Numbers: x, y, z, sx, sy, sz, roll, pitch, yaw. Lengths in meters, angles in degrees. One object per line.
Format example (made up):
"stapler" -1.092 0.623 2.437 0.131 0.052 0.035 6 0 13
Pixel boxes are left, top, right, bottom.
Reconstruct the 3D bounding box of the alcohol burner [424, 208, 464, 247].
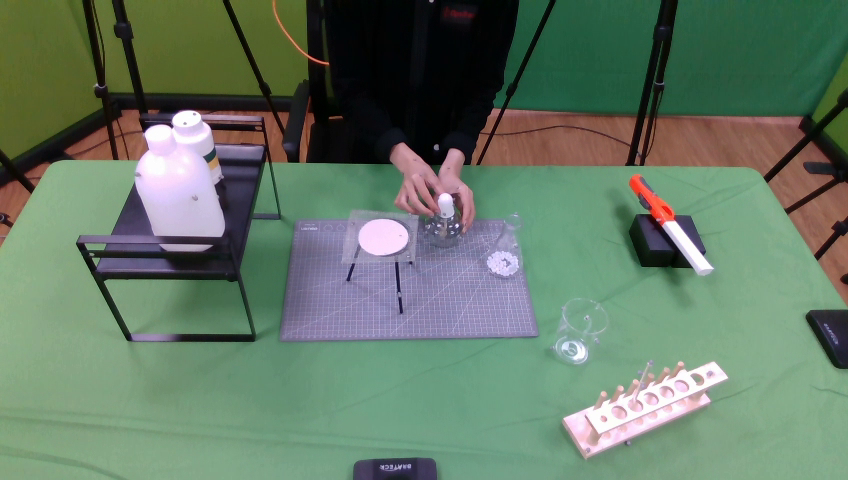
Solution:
"alcohol burner" 0.039 -0.044 1.175 0.078 0.120 0.077 1 48 -1

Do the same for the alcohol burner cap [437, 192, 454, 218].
"alcohol burner cap" 0.040 -0.068 1.148 0.034 0.048 0.033 -4 45 4

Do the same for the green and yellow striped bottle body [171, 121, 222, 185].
"green and yellow striped bottle body" -0.375 -0.149 0.995 0.063 0.120 0.063 2 46 -2

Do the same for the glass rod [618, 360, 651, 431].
"glass rod" 0.298 0.227 0.865 0.008 0.201 0.008 -1 48 2

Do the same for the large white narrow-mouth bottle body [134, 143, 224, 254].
"large white narrow-mouth bottle body" -0.358 -0.075 0.875 0.102 0.195 0.101 1 48 -1

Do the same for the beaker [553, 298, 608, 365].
"beaker" 0.260 0.154 1.015 0.073 0.101 0.084 37 54 27

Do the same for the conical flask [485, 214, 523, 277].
"conical flask" 0.157 0.007 1.129 0.075 0.122 0.075 2 46 -2

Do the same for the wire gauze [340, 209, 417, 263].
"wire gauze" -0.074 -0.007 1.023 0.121 0.011 0.124 3 46 0

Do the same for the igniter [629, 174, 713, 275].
"igniter" 0.481 -0.040 1.202 0.057 0.025 0.274 -2 46 -21

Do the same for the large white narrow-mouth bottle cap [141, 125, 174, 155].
"large white narrow-mouth bottle cap" -0.356 -0.134 0.810 0.038 0.024 0.037 2 48 -2

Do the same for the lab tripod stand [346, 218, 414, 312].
"lab tripod stand" -0.070 0.037 1.075 0.148 0.132 0.147 1 48 -1

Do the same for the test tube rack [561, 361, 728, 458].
"test tube rack" 0.341 0.248 0.940 0.243 0.085 0.066 -15 49 -18

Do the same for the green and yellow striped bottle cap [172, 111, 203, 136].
"green and yellow striped bottle cap" -0.374 -0.185 0.958 0.045 0.020 0.045 4 46 -3
